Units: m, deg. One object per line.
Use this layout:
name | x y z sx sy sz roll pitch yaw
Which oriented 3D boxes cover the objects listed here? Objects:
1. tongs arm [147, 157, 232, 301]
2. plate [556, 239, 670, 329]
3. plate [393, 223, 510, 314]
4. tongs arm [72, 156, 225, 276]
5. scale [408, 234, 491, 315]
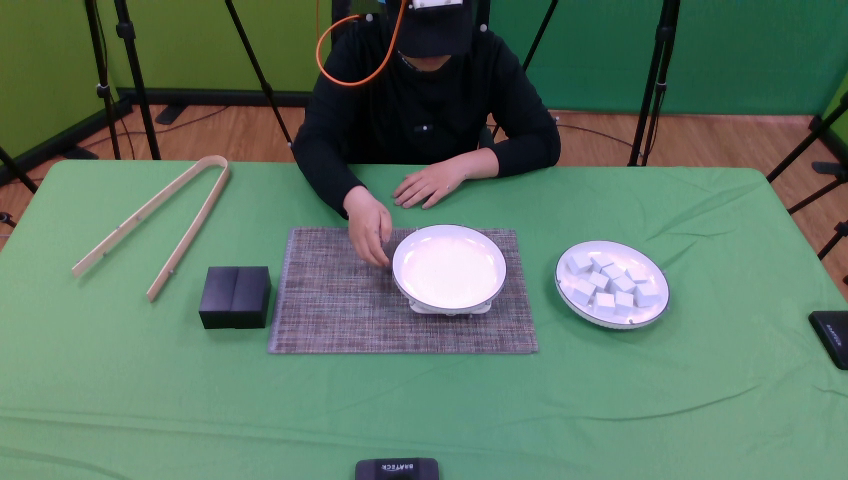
tongs arm | -0.453 -0.035 1.193 0.028 0.028 0.385 7 46 6
plate | 0.348 0.083 1.130 0.209 0.038 0.208 2 47 -2
plate | 0.048 0.053 1.091 0.208 0.039 0.206 1 46 -1
tongs arm | -0.530 -0.057 1.204 0.050 0.026 0.383 19 47 13
scale | 0.045 0.055 1.135 0.149 0.032 0.199 1 46 -3
